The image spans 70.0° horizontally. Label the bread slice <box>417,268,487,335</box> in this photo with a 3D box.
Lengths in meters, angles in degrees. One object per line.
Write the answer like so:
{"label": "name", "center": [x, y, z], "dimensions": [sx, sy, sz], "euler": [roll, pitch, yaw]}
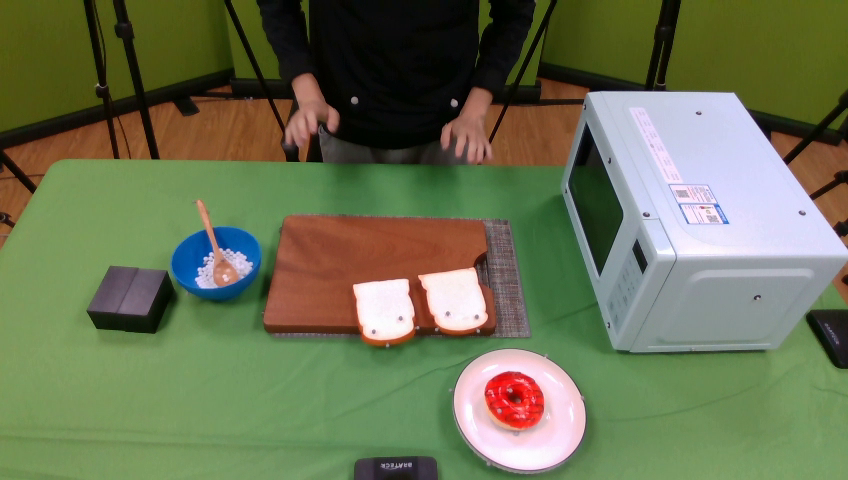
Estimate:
{"label": "bread slice", "center": [0.055, 0.107, 1.063], "dimensions": [0.107, 0.018, 0.133], "euler": [-9, 48, -12]}

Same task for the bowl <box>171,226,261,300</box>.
{"label": "bowl", "center": [-0.363, 0.054, 1.081], "dimensions": [0.151, 0.077, 0.150], "euler": [2, 45, -2]}

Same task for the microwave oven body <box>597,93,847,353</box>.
{"label": "microwave oven body", "center": [0.475, -0.041, 1.110], "dimensions": [0.326, 0.261, 0.438], "euler": [-1, 45, -4]}

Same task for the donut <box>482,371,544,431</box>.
{"label": "donut", "center": [0.139, 0.250, 0.942], "dimensions": [0.099, 0.048, 0.098], "euler": [5, 45, -4]}

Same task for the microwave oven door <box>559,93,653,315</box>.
{"label": "microwave oven door", "center": [0.327, -0.074, 1.123], "dimensions": [0.039, 0.245, 0.353], "euler": [-1, 46, -5]}

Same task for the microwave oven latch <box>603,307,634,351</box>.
{"label": "microwave oven latch", "center": [0.332, 0.153, 1.044], "dimensions": [0.030, 0.029, 0.078], "euler": [0, 45, -3]}

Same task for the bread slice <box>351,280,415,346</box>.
{"label": "bread slice", "center": [-0.067, 0.123, 1.040], "dimensions": [0.105, 0.019, 0.130], "euler": [-7, 47, -9]}

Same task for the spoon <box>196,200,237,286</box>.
{"label": "spoon", "center": [-0.378, 0.003, 1.086], "dimensions": [0.042, 0.022, 0.192], "euler": [-15, 67, -24]}

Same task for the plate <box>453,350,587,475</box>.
{"label": "plate", "center": [0.147, 0.267, 0.943], "dimensions": [0.208, 0.039, 0.206], "euler": [2, 46, -2]}
